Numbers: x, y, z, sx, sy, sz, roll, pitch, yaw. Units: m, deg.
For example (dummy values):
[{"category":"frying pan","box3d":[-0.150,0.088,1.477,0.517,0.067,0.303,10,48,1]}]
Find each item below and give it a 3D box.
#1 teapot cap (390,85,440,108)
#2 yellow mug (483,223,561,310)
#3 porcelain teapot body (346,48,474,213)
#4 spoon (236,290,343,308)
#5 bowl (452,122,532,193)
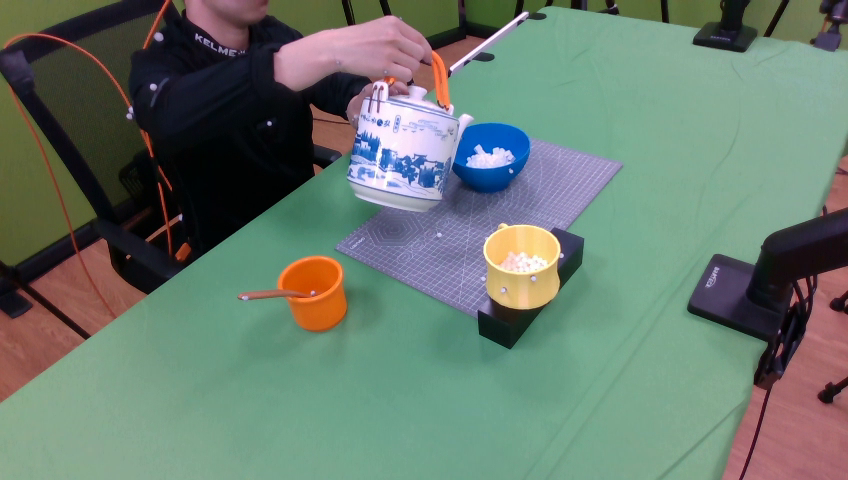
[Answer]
[{"category":"teapot cap","box3d":[-0.013,-0.199,0.870,0.085,0.044,0.085,13,7,-1]},{"category":"yellow mug","box3d":[0.126,0.025,0.811,0.100,0.064,0.130,-16,39,-9]},{"category":"porcelain teapot body","box3d":[-0.004,-0.160,0.897,0.144,0.225,0.207,20,11,40]},{"category":"spoon","box3d":[-0.176,0.076,0.808,0.041,0.195,0.021,23,93,30]},{"category":"bowl","box3d":[0.113,-0.136,1.063,0.151,0.077,0.150,-4,41,4]}]
